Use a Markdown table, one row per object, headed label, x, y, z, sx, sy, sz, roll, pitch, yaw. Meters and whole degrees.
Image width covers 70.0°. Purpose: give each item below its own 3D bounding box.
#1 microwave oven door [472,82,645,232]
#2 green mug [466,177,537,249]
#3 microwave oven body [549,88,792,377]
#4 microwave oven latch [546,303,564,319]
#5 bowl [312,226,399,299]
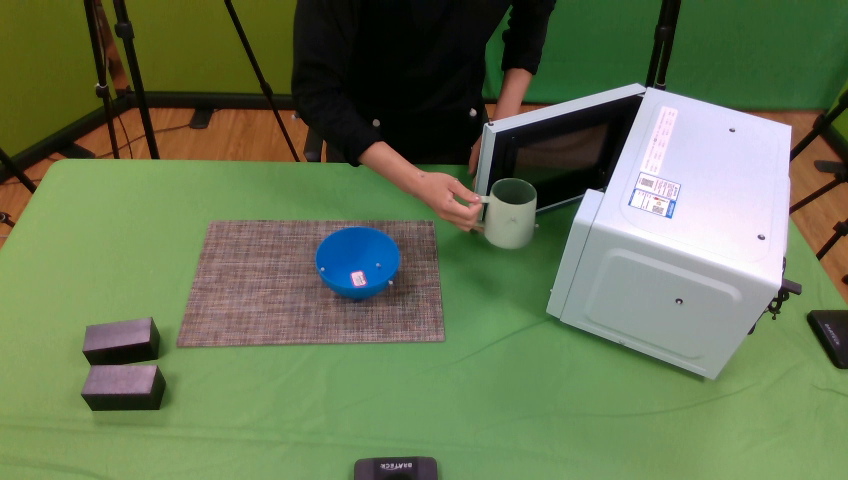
| label | x | y | z | sx | sy | sz | roll | pitch | yaw |
| --- | --- | --- | --- | --- | --- | --- | --- | --- | --- |
| microwave oven door | 0.265 | -0.164 | 1.197 | 0.356 | 0.245 | 0.039 | -19 | 49 | -20 |
| green mug | 0.136 | -0.046 | 1.071 | 0.125 | 0.105 | 0.092 | 1 | 43 | -1 |
| microwave oven body | 0.456 | -0.028 | 1.088 | 0.325 | 0.261 | 0.440 | 20 | 47 | 16 |
| microwave oven latch | 0.242 | 0.102 | 1.081 | 0.030 | 0.029 | 0.079 | 22 | 48 | 17 |
| bowl | -0.120 | 0.054 | 1.091 | 0.151 | 0.077 | 0.150 | 2 | 46 | -2 |
